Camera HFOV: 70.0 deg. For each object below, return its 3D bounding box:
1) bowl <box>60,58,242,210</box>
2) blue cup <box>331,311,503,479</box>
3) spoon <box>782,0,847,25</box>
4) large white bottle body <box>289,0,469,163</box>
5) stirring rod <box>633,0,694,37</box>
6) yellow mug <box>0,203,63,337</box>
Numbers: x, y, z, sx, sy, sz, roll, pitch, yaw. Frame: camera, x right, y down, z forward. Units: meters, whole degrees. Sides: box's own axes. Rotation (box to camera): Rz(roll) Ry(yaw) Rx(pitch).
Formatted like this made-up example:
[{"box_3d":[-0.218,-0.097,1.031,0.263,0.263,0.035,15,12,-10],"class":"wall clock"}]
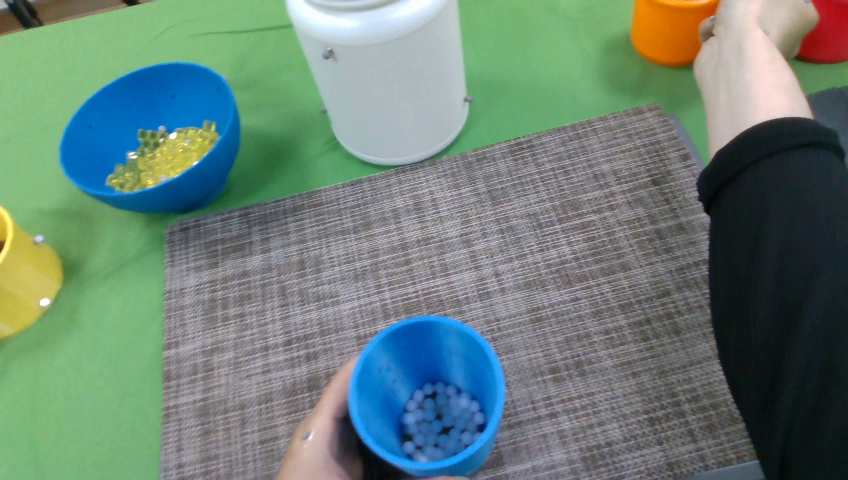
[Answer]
[{"box_3d":[-0.223,-0.079,0.533,0.151,0.077,0.150,-4,57,6],"class":"bowl"},{"box_3d":[0.006,0.103,0.366,0.092,0.101,0.092,-4,58,7],"class":"blue cup"},{"box_3d":[0.388,-0.211,0.485,0.041,0.022,0.193,-51,20,-19],"class":"spoon"},{"box_3d":[-0.033,-0.168,0.497,0.130,0.186,0.129,-4,57,6],"class":"large white bottle body"},{"box_3d":[0.256,-0.226,0.518,0.176,0.006,0.014,-27,44,45],"class":"stirring rod"},{"box_3d":[-0.365,0.036,0.489,0.100,0.064,0.129,-3,59,6],"class":"yellow mug"}]
